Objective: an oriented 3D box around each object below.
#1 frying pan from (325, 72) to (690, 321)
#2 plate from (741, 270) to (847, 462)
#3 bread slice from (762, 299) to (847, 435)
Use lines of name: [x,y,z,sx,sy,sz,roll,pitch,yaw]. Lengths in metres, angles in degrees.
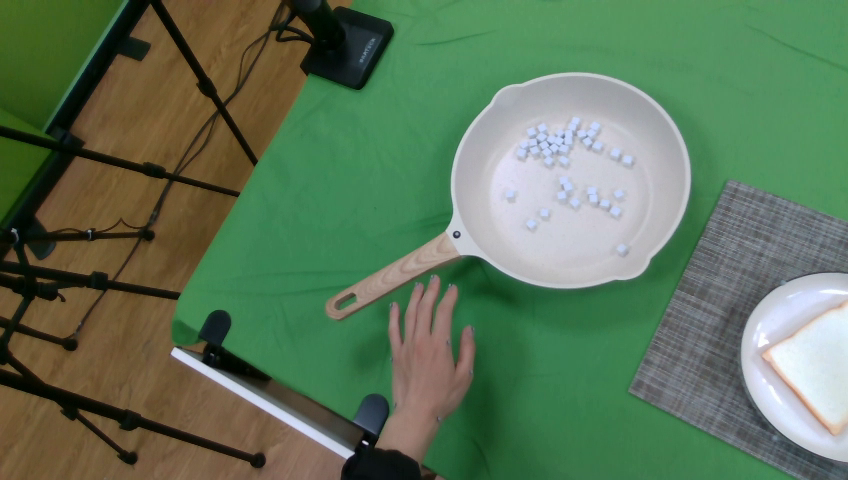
frying pan: [0.092,-0.025,0.776,0.488,0.103,0.304,-27,67,-4]
plate: [0.458,0.136,0.664,0.207,0.039,0.206,-4,72,13]
bread slice: [0.460,0.128,0.667,0.134,0.018,0.106,-40,69,1]
